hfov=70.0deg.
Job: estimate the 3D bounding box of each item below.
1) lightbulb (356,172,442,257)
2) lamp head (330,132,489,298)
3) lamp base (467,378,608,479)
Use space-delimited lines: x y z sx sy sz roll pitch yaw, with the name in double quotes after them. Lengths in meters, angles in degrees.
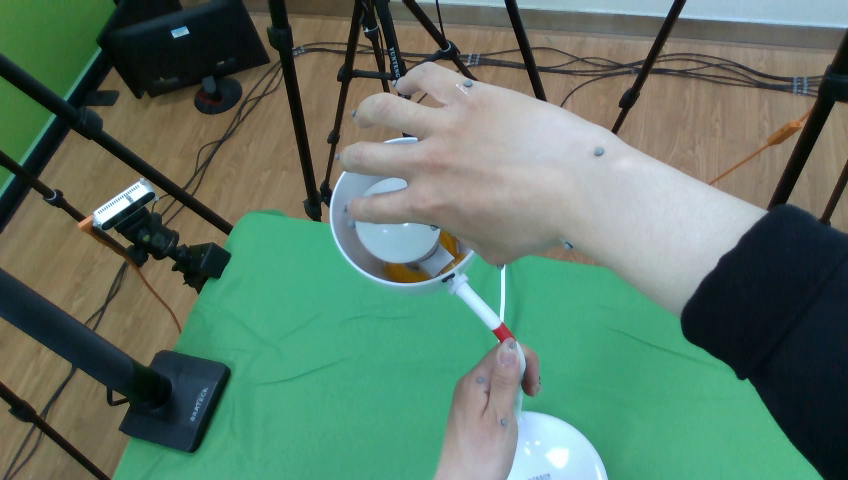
-0.014 -0.012 0.445 0.059 0.108 0.059 -2 77 8 "lightbulb"
-0.003 -0.005 0.470 0.112 0.124 0.111 -3 68 7 "lamp head"
0.113 0.227 0.642 0.161 0.182 0.177 -26 57 -6 "lamp base"
